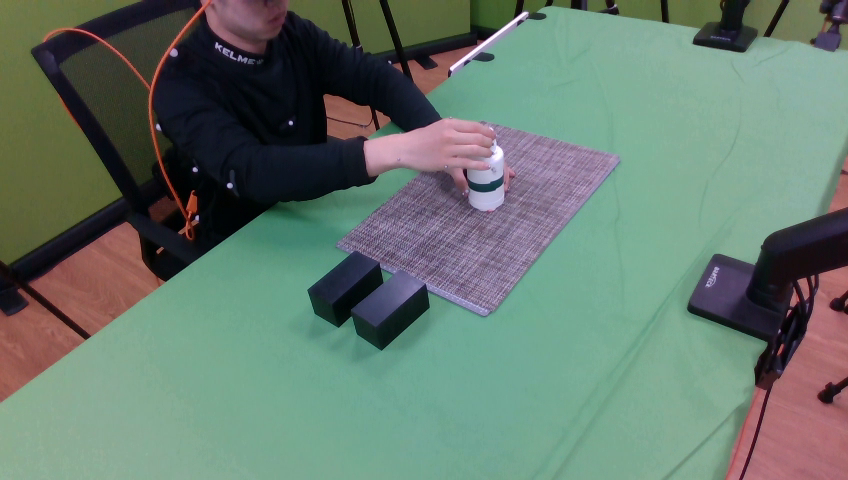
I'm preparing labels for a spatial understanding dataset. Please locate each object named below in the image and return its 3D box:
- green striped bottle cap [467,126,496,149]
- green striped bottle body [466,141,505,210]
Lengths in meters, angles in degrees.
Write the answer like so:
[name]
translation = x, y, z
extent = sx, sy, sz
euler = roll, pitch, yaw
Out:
[green striped bottle cap]
translation = 0.092, -0.163, 0.965
extent = 0.044, 0.020, 0.044
euler = -9, 36, 7
[green striped bottle body]
translation = 0.102, -0.114, 1.005
extent = 0.063, 0.120, 0.063
euler = -4, 41, 4
